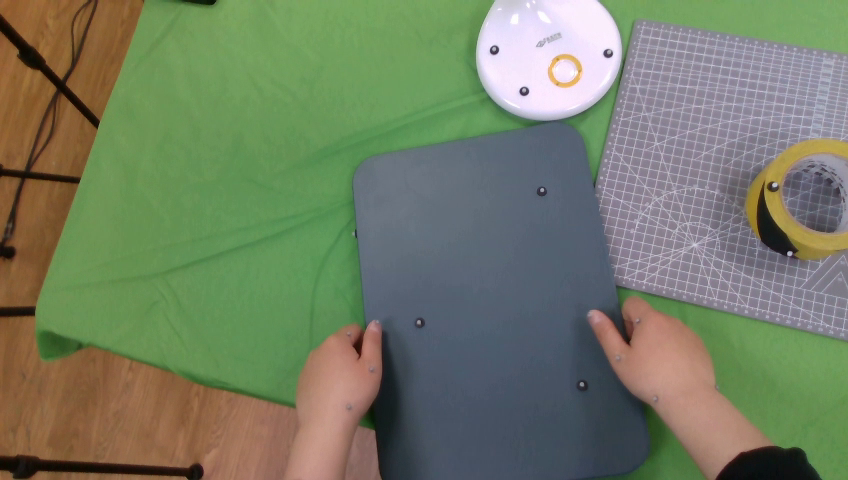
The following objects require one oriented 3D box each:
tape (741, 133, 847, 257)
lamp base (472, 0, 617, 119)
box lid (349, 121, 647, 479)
[{"bbox_3d":[0.378,-0.044,0.594,0.117,0.053,0.116,-1,78,7],"label":"tape"},{"bbox_3d":[0.114,-0.237,0.607,0.160,0.181,0.178,-36,73,0],"label":"lamp base"},{"bbox_3d":[0.063,0.057,0.630,0.263,0.015,0.369,-10,73,6],"label":"box lid"}]
